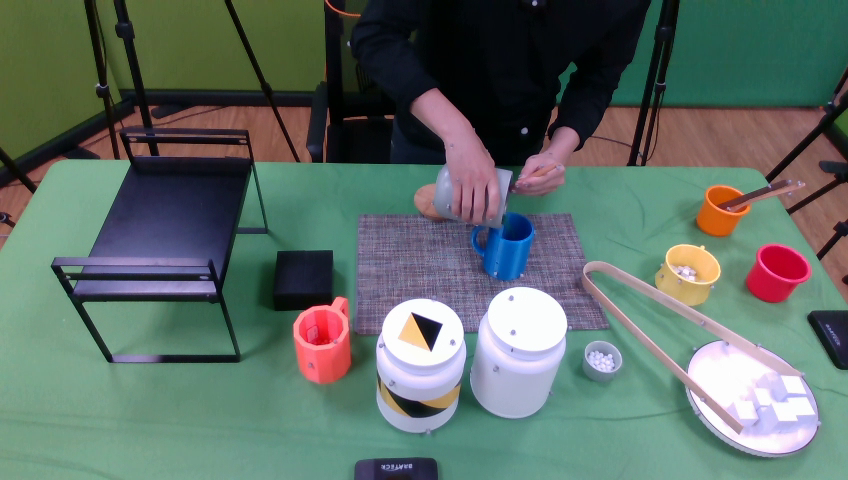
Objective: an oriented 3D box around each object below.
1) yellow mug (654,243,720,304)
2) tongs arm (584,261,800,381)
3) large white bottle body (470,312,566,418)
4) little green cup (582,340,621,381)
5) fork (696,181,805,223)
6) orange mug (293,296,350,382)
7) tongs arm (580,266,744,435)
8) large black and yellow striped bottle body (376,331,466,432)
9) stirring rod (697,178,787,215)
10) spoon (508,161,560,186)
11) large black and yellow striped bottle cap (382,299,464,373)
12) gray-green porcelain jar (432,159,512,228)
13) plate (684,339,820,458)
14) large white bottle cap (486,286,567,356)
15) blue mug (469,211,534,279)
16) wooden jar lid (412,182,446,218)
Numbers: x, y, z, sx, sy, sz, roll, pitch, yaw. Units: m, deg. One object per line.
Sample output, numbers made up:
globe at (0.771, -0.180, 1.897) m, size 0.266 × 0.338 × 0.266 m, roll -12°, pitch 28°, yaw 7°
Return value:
yellow mug at (0.504, 0.054, 1.154) m, size 0.099 × 0.064 × 0.130 m, roll 28°, pitch 50°, yaw 22°
tongs arm at (0.452, 0.137, 1.064) m, size 0.051 × 0.027 × 0.382 m, roll -34°, pitch 50°, yaw -27°
large white bottle body at (0.143, 0.174, 0.930) m, size 0.131 × 0.185 × 0.130 m, roll 2°, pitch 46°, yaw -2°
little green cup at (0.295, 0.203, 1.015) m, size 0.061 × 0.039 × 0.061 m, roll 2°, pitch 45°, yaw -2°
fork at (0.659, -0.077, 1.232) m, size 0.207 × 0.019 × 0.028 m, roll -26°, pitch 35°, yaw 34°
orange mug at (-0.158, 0.154, 0.985) m, size 0.083 × 0.101 × 0.125 m, roll 17°, pitch 52°, yaw 11°
tongs arm at (0.384, 0.173, 1.028) m, size 0.028 × 0.028 × 0.385 m, roll -25°, pitch 46°, yaw -15°
large black and yellow striped bottle body at (-0.007, 0.189, 0.905) m, size 0.131 × 0.185 × 0.130 m, roll 2°, pitch 46°, yaw -2°
stirring rod at (0.650, -0.088, 1.245) m, size 0.006 × 0.176 × 0.014 m, roll 29°, pitch 50°, yaw -39°
spoon at (0.146, -0.103, 1.067) m, size 0.193 × 0.022 × 0.041 m, roll -15°, pitch 28°, yaw 19°
large black and yellow striped bottle cap at (-0.002, 0.132, 0.843) m, size 0.115 × 0.019 × 0.114 m, roll 2°, pitch 46°, yaw -2°
gray-green porcelain jar at (0.084, -0.085, 1.076) m, size 0.126 × 0.106 × 0.105 m, roll 12°, pitch 47°, yaw 9°
plate at (0.523, 0.256, 0.982) m, size 0.208 × 0.039 × 0.206 m, roll 2°, pitch 46°, yaw -2°
large white bottle cap at (0.147, 0.114, 0.869) m, size 0.115 × 0.018 × 0.114 m, roll 3°, pitch 46°, yaw -3°
blue mug at (0.141, 0.005, 1.140) m, size 0.116 × 0.106 × 0.082 m, roll 18°, pitch 48°, yaw 13°
wooden jar lid at (0.029, -0.083, 1.276) m, size 0.108 × 0.021 × 0.107 m, roll 3°, pitch 43°, yaw -3°
